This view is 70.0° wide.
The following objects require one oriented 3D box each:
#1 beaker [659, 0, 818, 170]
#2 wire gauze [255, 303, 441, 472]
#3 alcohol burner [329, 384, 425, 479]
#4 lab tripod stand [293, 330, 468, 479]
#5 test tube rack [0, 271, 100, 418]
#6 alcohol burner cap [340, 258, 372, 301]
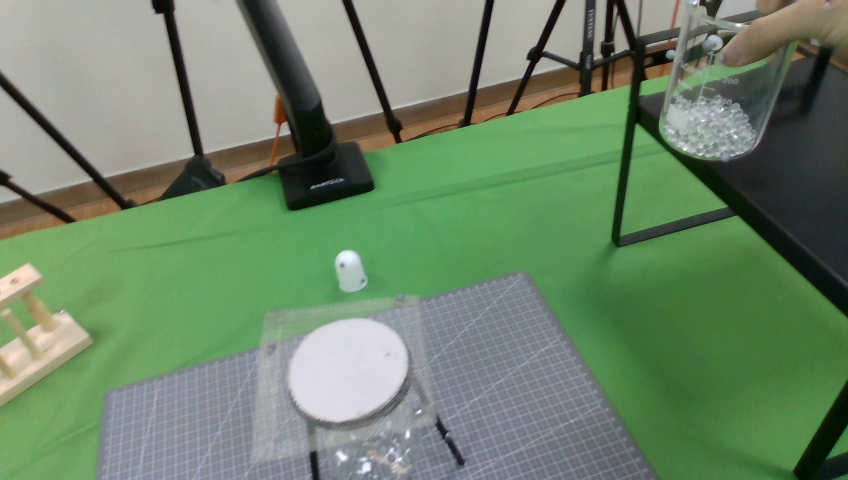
[{"bbox_3d":[0.202,-0.106,0.411,0.074,0.101,0.083,-28,47,-24],"label":"beaker"},{"bbox_3d":[-0.054,0.095,0.428,0.121,0.011,0.123,-8,43,-1],"label":"wire gauze"},{"bbox_3d":[-0.040,0.155,0.477,0.078,0.120,0.077,-5,40,5],"label":"alcohol burner"},{"bbox_3d":[-0.043,0.149,0.469,0.148,0.133,0.147,-4,43,4],"label":"lab tripod stand"},{"bbox_3d":[-0.459,0.141,0.584,0.066,0.086,0.242,27,51,33],"label":"test tube rack"},{"bbox_3d":[-0.077,0.041,0.674,0.034,0.048,0.033,-4,42,4],"label":"alcohol burner cap"}]
